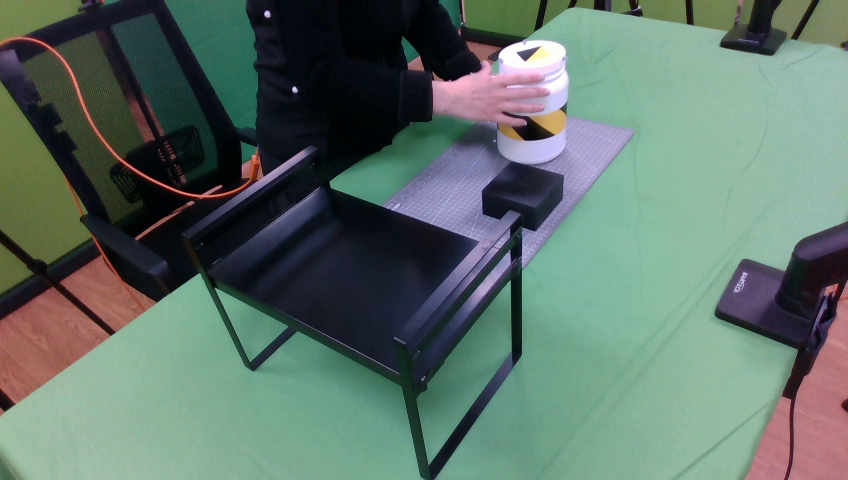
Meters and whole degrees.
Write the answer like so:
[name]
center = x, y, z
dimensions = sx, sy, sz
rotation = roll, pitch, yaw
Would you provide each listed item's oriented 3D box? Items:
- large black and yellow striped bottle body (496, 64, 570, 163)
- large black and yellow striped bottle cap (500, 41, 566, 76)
[large black and yellow striped bottle body]
center = 0.199, -0.249, 1.107
dimensions = 0.131, 0.185, 0.130
rotation = -5, 41, 4
[large black and yellow striped bottle cap]
center = 0.189, -0.317, 1.051
dimensions = 0.115, 0.019, 0.114
rotation = -5, 40, 4
